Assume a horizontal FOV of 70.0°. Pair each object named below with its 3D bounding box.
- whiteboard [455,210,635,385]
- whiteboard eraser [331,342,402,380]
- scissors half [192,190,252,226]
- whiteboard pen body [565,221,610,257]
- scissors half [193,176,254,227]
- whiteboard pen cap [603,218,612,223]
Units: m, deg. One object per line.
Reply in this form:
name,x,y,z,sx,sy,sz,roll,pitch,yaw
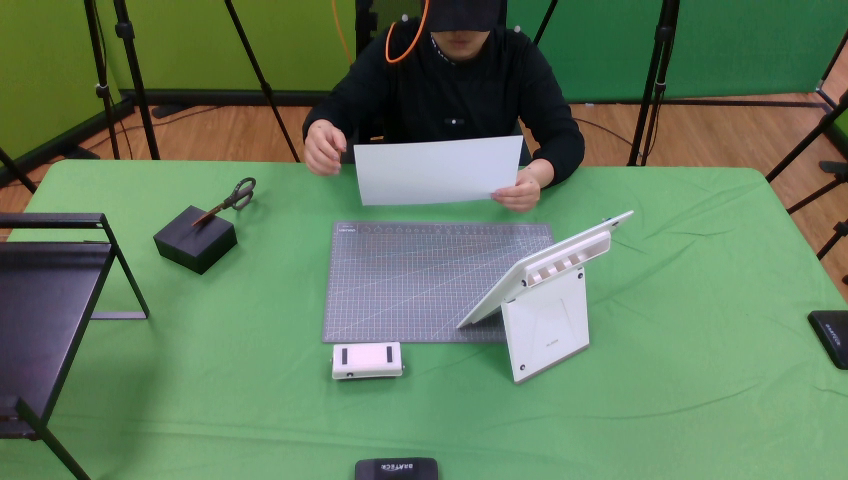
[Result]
whiteboard,0.211,0.111,0.955,0.217,0.306,0.143,-20,71,-23
whiteboard eraser,-0.094,0.198,0.986,0.113,0.042,0.055,-2,44,-6
scissors half,-0.393,-0.060,1.187,0.013,0.040,0.175,25,29,11
whiteboard pen body,0.335,-0.004,1.228,0.141,0.017,0.017,-33,57,-29
scissors half,-0.387,-0.075,1.174,0.013,0.040,0.174,29,47,8
whiteboard pen cap,0.379,-0.031,1.255,0.033,0.018,0.018,-33,57,-30
